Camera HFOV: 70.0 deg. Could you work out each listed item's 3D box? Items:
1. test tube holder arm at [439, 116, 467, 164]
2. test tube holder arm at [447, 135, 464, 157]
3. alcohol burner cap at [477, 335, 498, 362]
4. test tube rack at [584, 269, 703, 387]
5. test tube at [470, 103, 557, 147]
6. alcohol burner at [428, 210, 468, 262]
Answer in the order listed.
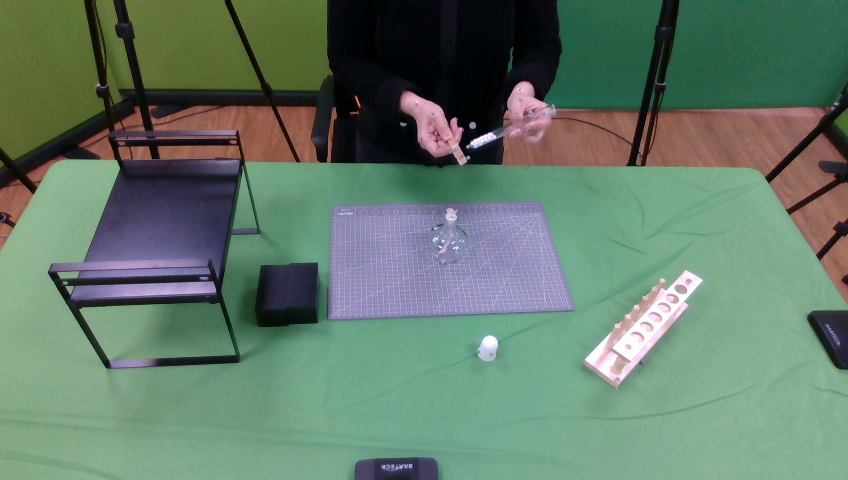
[{"bbox_3d":[0.049,-0.179,1.066,0.015,0.013,0.177,-29,33,8],"label":"test tube holder arm"},{"bbox_3d":[0.052,-0.160,1.025,0.015,0.010,0.087,-29,25,8],"label":"test tube holder arm"},{"bbox_3d":[0.108,0.179,1.017,0.034,0.048,0.033,3,51,-4],"label":"alcohol burner cap"},{"bbox_3d":[0.381,0.139,1.045,0.066,0.085,0.242,37,54,28],"label":"test tube rack"},{"bbox_3d":[0.145,-0.188,0.993,0.150,0.017,0.017,-23,47,10],"label":"test tube"},{"bbox_3d":[0.048,-0.014,1.146,0.078,0.119,0.077,3,48,-3],"label":"alcohol burner"}]
